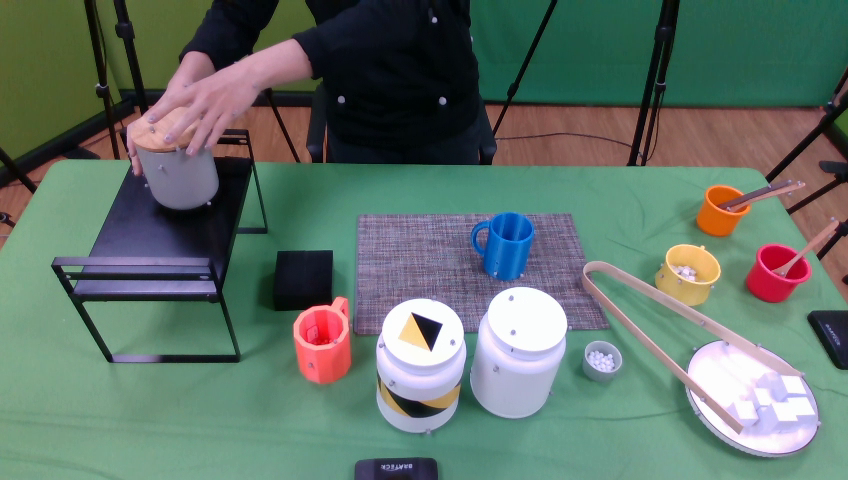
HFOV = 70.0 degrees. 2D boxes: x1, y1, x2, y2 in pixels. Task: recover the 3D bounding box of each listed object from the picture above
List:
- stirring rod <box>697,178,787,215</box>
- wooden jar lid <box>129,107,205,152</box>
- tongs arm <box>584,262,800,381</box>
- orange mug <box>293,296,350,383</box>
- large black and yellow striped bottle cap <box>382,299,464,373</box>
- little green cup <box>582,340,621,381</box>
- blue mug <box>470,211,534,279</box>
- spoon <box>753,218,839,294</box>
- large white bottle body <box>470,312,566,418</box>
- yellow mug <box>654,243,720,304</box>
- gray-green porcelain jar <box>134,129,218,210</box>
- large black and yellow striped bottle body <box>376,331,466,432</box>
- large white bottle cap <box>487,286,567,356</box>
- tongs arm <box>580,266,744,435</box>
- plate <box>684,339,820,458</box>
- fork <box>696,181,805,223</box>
[{"bbox_3d":[0.650,-0.088,1.246,0.006,0.176,0.014,29,50,-39],"label":"stirring rod"},{"bbox_3d":[-0.385,-0.163,0.915,0.108,0.021,0.107,2,47,-2],"label":"wooden jar lid"},{"bbox_3d":[0.452,0.137,1.064,0.051,0.027,0.382,-34,50,-27],"label":"tongs arm"},{"bbox_3d":[-0.157,0.154,0.985,0.083,0.101,0.125,17,52,11],"label":"orange mug"},{"bbox_3d":[-0.002,0.132,0.843,0.115,0.019,0.114,2,46,-1],"label":"large black and yellow striped bottle cap"},{"bbox_3d":[0.295,0.204,1.014,0.061,0.039,0.061,2,45,-2],"label":"little green cup"},{"bbox_3d":[0.141,0.005,1.140,0.116,0.106,0.082,18,48,13],"label":"blue mug"},{"bbox_3d":[0.700,0.031,1.138,0.194,0.022,0.041,-47,55,14],"label":"spoon"},{"bbox_3d":[0.143,0.174,0.930,0.131,0.185,0.130,2,46,-2],"label":"large white bottle body"},{"bbox_3d":[0.504,0.054,1.154,0.099,0.064,0.130,28,49,22],"label":"yellow mug"},{"bbox_3d":[-0.389,-0.120,0.960,0.106,0.127,0.105,2,46,-2],"label":"gray-green porcelain jar"},{"bbox_3d":[-0.006,0.189,0.905,0.131,0.185,0.130,2,46,-2],"label":"large black and yellow striped bottle body"},{"bbox_3d":[0.147,0.114,0.869,0.115,0.018,0.114,3,46,-3],"label":"large white bottle cap"},{"bbox_3d":[0.384,0.174,1.029,0.028,0.028,0.385,-25,46,-14],"label":"tongs arm"},{"bbox_3d":[0.523,0.256,0.983,0.208,0.039,0.206,2,46,-2],"label":"plate"},{"bbox_3d":[0.659,-0.077,1.232,0.207,0.019,0.028,-26,35,34],"label":"fork"}]
